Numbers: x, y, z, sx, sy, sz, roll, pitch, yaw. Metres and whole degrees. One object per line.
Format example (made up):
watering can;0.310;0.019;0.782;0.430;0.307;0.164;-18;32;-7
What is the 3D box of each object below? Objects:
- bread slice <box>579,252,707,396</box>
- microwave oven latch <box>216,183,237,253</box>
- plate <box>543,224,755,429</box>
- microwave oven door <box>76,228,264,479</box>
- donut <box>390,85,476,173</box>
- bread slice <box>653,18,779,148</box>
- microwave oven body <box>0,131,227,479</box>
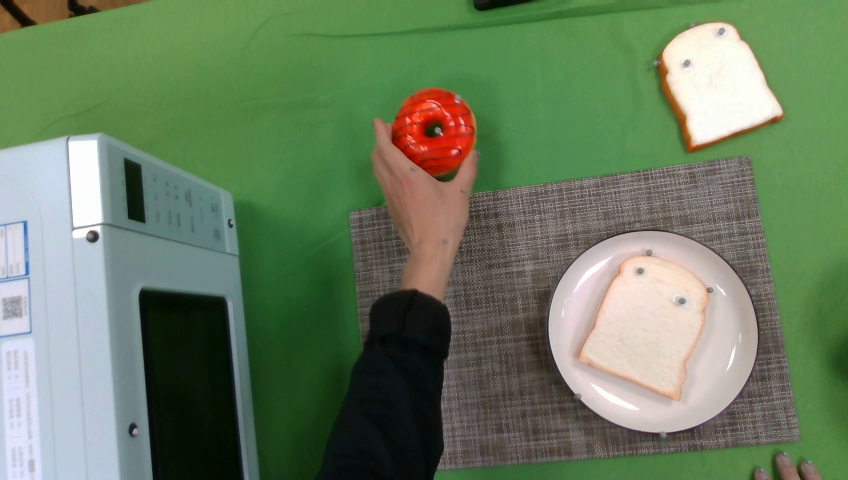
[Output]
bread slice;0.232;0.081;0.635;0.106;0.018;0.134;18;86;10
microwave oven latch;-0.238;-0.024;0.701;0.030;0.029;0.079;-9;83;7
plate;0.230;0.088;0.635;0.207;0.039;0.207;-1;84;8
microwave oven door;-0.224;0.178;0.573;0.039;0.245;0.354;-10;82;8
donut;0.009;-0.122;0.669;0.099;0.048;0.099;-1;83;12
bread slice;0.314;-0.178;0.668;0.105;0.019;0.131;-21;82;4
microwave oven body;-0.372;0.161;0.601;0.326;0.261;0.440;-9;83;7
